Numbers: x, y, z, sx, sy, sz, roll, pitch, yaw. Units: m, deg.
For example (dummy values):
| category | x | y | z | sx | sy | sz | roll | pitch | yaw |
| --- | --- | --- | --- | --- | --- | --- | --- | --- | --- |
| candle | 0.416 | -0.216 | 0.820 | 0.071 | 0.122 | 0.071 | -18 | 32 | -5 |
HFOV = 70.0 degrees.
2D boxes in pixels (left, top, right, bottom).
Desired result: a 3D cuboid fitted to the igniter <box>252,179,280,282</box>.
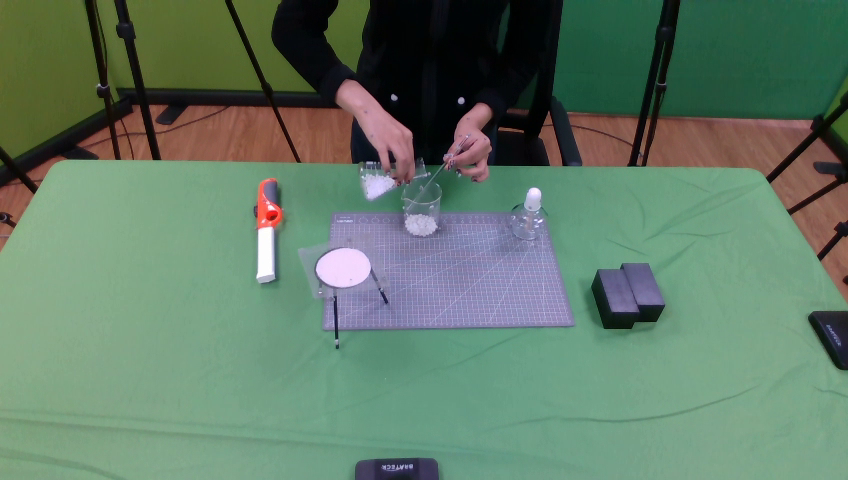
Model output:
| category | x | y | z | sx | sy | sz | roll | pitch | yaw |
| --- | --- | --- | --- | --- | --- | --- | --- | --- | --- |
| igniter | -0.312 | -0.027 | 1.197 | 0.057 | 0.025 | 0.274 | -12 | 47 | -2 |

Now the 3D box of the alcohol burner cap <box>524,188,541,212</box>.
| category | x | y | z | sx | sy | sz | roll | pitch | yaw |
| --- | --- | --- | --- | --- | --- | --- | --- | --- | --- |
| alcohol burner cap | 0.212 | -0.081 | 1.177 | 0.034 | 0.048 | 0.033 | -2 | 54 | 2 |

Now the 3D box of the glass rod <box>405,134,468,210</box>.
| category | x | y | z | sx | sy | sz | roll | pitch | yaw |
| --- | --- | --- | --- | --- | --- | --- | --- | --- | --- |
| glass rod | 0.020 | -0.124 | 1.135 | 0.008 | 0.200 | 0.008 | 29 | 33 | -21 |

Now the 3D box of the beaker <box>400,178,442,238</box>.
| category | x | y | z | sx | sy | sz | roll | pitch | yaw |
| --- | --- | --- | --- | --- | --- | --- | --- | --- | --- |
| beaker | -0.009 | -0.059 | 1.200 | 0.084 | 0.101 | 0.073 | -14 | 48 | -17 |

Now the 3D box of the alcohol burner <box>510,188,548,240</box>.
| category | x | y | z | sx | sy | sz | roll | pitch | yaw |
| --- | --- | --- | --- | --- | --- | --- | --- | --- | --- |
| alcohol burner | 0.211 | -0.057 | 1.204 | 0.078 | 0.120 | 0.077 | 1 | 47 | -1 |

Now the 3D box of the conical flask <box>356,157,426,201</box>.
| category | x | y | z | sx | sy | sz | roll | pitch | yaw |
| --- | --- | --- | --- | --- | --- | --- | --- | --- | --- |
| conical flask | -0.059 | -0.120 | 1.114 | 0.122 | 0.076 | 0.075 | -15 | 47 | 3 |

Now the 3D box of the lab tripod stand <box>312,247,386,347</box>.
| category | x | y | z | sx | sy | sz | roll | pitch | yaw |
| --- | --- | --- | --- | --- | --- | --- | --- | --- | --- |
| lab tripod stand | -0.134 | 0.085 | 1.028 | 0.148 | 0.132 | 0.147 | 2 | 45 | -1 |

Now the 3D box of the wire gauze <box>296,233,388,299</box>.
| category | x | y | z | sx | sy | sz | roll | pitch | yaw |
| --- | --- | --- | --- | --- | --- | --- | --- | --- | --- |
| wire gauze | -0.133 | 0.041 | 0.977 | 0.125 | 0.011 | 0.120 | -12 | 47 | -16 |
